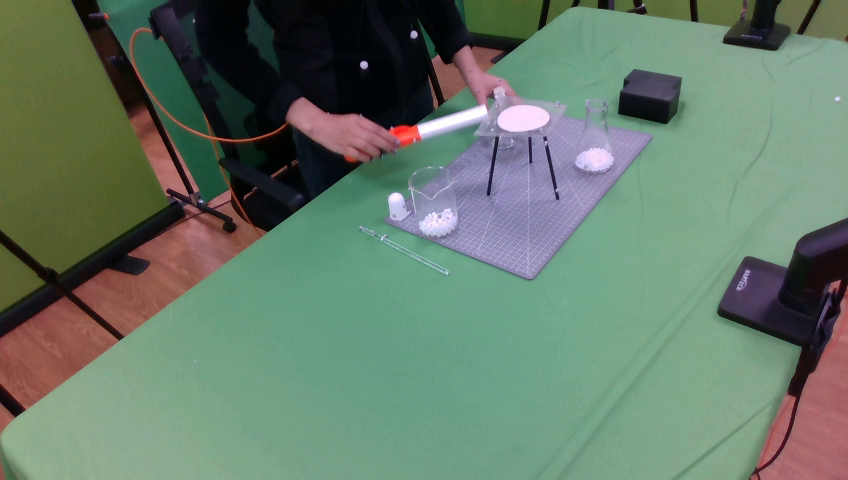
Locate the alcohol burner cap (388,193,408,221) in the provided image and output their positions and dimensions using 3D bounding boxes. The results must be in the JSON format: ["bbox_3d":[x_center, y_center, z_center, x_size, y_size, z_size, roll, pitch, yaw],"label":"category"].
[{"bbox_3d":[-0.047,-0.060,1.043,0.034,0.048,0.033,-6,41,6],"label":"alcohol burner cap"}]

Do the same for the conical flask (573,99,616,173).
[{"bbox_3d":[0.302,-0.184,1.061,0.075,0.122,0.075,-5,40,5],"label":"conical flask"}]

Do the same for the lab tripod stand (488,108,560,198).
[{"bbox_3d":[0.173,-0.150,1.037,0.148,0.132,0.147,-7,38,6],"label":"lab tripod stand"}]

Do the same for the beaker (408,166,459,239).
[{"bbox_3d":[0.018,-0.057,0.984,0.074,0.101,0.083,-6,41,5],"label":"beaker"}]

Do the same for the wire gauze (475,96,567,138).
[{"bbox_3d":[0.161,-0.201,0.994,0.121,0.011,0.125,11,43,23],"label":"wire gauze"}]

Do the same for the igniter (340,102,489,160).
[{"bbox_3d":[-0.019,-0.195,1.090,0.276,0.025,0.057,-16,45,4],"label":"igniter"}]

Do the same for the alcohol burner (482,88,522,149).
[{"bbox_3d":[0.149,-0.237,1.160,0.078,0.119,0.077,-4,40,4],"label":"alcohol burner"}]

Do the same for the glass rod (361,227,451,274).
[{"bbox_3d":[-0.033,0.015,0.985,0.198,0.008,0.008,25,52,34],"label":"glass rod"}]
